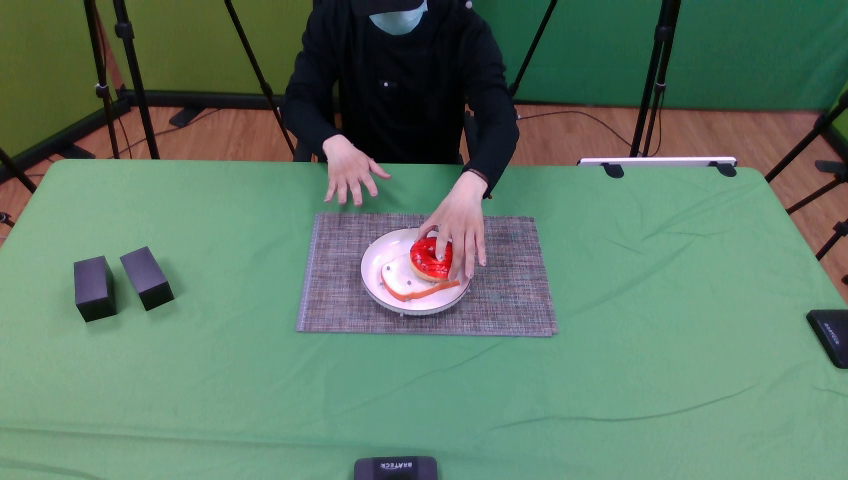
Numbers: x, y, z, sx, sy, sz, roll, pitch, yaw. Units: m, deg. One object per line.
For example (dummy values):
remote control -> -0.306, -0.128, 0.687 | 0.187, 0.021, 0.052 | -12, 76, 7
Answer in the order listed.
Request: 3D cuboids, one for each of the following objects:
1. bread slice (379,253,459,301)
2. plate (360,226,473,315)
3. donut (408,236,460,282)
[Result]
bread slice -> -0.014, 0.063, 1.122 | 0.132, 0.019, 0.104 | -18, 50, -21
plate -> -0.013, 0.059, 1.124 | 0.208, 0.039, 0.206 | 2, 46, -2
donut -> 0.018, 0.035, 1.107 | 0.099, 0.048, 0.098 | 6, 45, -6
